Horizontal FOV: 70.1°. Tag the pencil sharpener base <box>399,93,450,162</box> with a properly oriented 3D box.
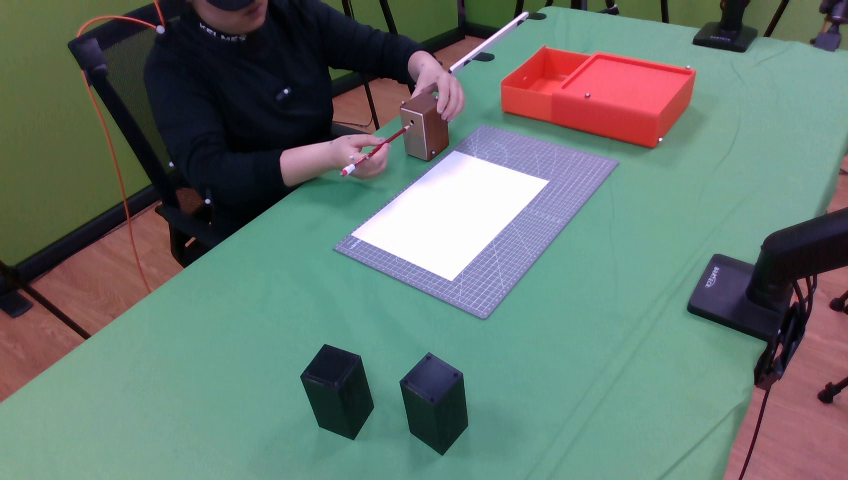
[{"bbox_3d":[0.004,-0.216,1.159,0.061,0.107,0.077,23,48,32],"label":"pencil sharpener base"}]

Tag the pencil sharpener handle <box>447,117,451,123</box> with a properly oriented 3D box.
[{"bbox_3d":[0.035,-0.253,1.179,0.035,0.068,0.031,19,46,35],"label":"pencil sharpener handle"}]

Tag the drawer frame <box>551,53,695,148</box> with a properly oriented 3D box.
[{"bbox_3d":[0.390,-0.281,1.196,0.212,0.083,0.202,22,48,29],"label":"drawer frame"}]

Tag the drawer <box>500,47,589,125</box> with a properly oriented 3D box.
[{"bbox_3d":[0.295,-0.316,1.255,0.210,0.073,0.195,22,47,29],"label":"drawer"}]

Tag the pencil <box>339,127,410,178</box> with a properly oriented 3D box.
[{"bbox_3d":[-0.081,-0.157,1.052,0.012,0.012,0.194,21,45,30],"label":"pencil"}]
